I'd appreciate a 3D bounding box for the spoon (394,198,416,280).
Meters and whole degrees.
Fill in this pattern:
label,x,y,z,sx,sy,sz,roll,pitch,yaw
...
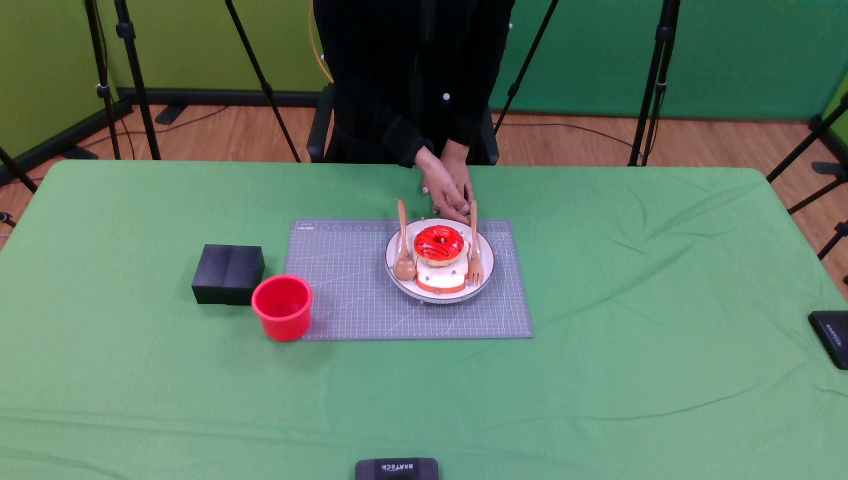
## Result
label,x,y,z,sx,sy,sz,roll,pitch,yaw
spoon,-0.039,-0.005,1.166,0.042,0.022,0.192,2,59,-9

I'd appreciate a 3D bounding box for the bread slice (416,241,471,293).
label,x,y,z,sx,sy,sz,roll,pitch,yaw
bread slice,0.036,0.046,1.144,0.105,0.019,0.131,4,45,2

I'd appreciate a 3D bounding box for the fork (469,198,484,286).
label,x,y,z,sx,sy,sz,roll,pitch,yaw
fork,0.099,0.000,1.172,0.028,0.019,0.206,-5,58,10

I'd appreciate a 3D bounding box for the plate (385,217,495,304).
label,x,y,z,sx,sy,sz,roll,pitch,yaw
plate,0.030,0.041,1.146,0.209,0.038,0.208,2,46,-2

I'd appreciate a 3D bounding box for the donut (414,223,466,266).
label,x,y,z,sx,sy,sz,roll,pitch,yaw
donut,0.030,0.008,1.140,0.099,0.048,0.098,0,42,0
